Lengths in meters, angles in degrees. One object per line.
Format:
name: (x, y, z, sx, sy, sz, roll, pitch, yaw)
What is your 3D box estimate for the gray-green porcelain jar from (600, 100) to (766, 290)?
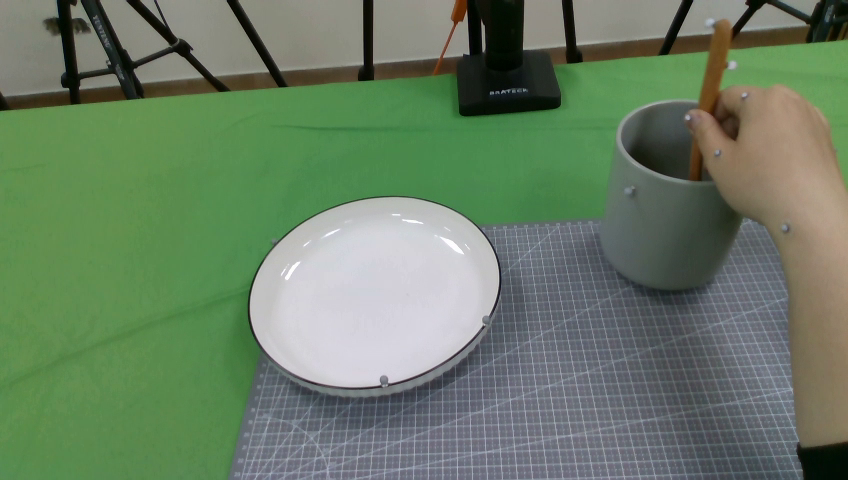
gray-green porcelain jar: (0.200, -0.030, 0.488, 0.106, 0.128, 0.105, -4, 46, 4)

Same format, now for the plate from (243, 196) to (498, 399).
plate: (-0.042, 0.045, 0.507, 0.207, 0.039, 0.205, -3, 45, 4)

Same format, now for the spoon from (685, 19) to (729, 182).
spoon: (0.203, -0.062, 0.448, 0.021, 0.195, 0.041, -25, 38, -22)
